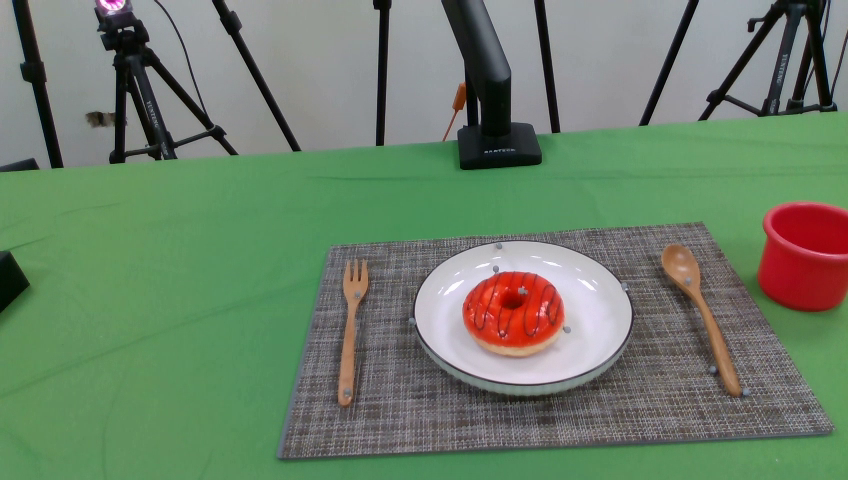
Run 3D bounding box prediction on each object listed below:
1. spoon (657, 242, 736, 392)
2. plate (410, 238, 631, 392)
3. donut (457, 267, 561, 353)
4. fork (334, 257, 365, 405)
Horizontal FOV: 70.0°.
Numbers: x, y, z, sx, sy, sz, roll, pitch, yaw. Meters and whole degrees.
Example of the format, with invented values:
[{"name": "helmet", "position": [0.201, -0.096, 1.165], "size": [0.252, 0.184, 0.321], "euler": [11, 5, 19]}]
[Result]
[{"name": "spoon", "position": [0.264, 0.067, 0.587], "size": [0.042, 0.022, 0.192], "euler": [12, 36, -5]}, {"name": "plate", "position": [0.092, 0.072, 0.591], "size": [0.209, 0.038, 0.207], "euler": [-3, 35, 3]}, {"name": "donut", "position": [0.081, 0.066, 0.581], "size": [0.099, 0.049, 0.098], "euler": [-5, 38, 4]}, {"name": "fork", "position": [-0.077, 0.083, 0.614], "size": [0.028, 0.019, 0.205], "euler": [1, 34, -4]}]
